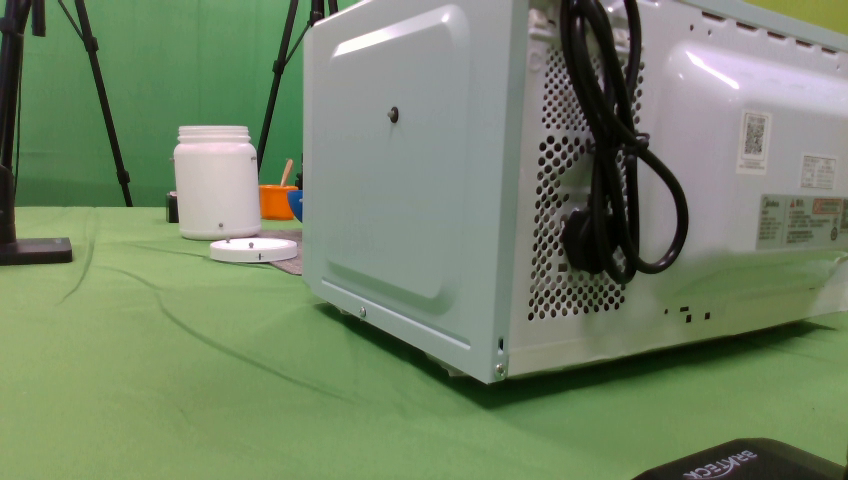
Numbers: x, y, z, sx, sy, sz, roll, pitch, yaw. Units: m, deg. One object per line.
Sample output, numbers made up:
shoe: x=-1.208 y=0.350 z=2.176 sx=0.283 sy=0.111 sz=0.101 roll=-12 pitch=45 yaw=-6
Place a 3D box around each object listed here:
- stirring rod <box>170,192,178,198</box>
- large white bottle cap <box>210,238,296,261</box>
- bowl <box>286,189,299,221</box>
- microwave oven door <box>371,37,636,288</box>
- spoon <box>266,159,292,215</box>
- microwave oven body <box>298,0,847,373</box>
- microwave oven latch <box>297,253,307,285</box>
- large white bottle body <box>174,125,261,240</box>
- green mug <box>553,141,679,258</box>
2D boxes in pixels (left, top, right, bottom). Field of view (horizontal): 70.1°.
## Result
stirring rod: x=-0.465 y=-0.098 z=1.283 sx=0.014 sy=0.006 sz=0.177 roll=42 pitch=21 yaw=17
large white bottle cap: x=-0.236 y=0.012 z=0.839 sx=0.115 sy=0.018 sz=0.115 roll=2 pitch=7 yaw=0
bowl: x=-0.179 y=-0.051 z=1.115 sx=0.151 sy=0.077 sz=0.151 roll=3 pitch=8 yaw=0
microwave oven door: x=0.109 y=-0.080 z=0.686 sx=0.358 sy=0.243 sz=0.039 roll=-2 pitch=9 yaw=-33
spoon: x=-0.334 y=-0.127 z=1.423 sx=0.041 sy=0.193 sz=0.021 roll=0 pitch=-38 yaw=6
microwave oven body: x=0.151 y=-0.055 z=0.543 sx=0.444 sy=0.260 sz=0.324 roll=-1 pitch=7 yaw=-33
microwave oven latch: x=-0.082 y=0.027 z=0.582 sx=0.079 sy=0.029 sz=0.030 roll=-1 pitch=7 yaw=-32
large white bottle body: x=-0.349 y=-0.100 z=1.024 sx=0.131 sy=0.184 sz=0.130 roll=-1 pitch=9 yaw=0
green mug: x=0.179 y=-0.037 z=0.583 sx=0.124 sy=0.105 sz=0.093 roll=2 pitch=3 yaw=44
